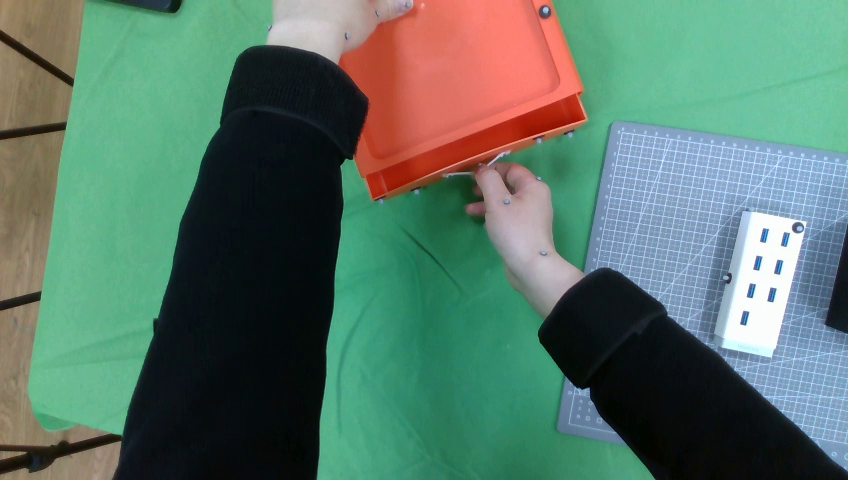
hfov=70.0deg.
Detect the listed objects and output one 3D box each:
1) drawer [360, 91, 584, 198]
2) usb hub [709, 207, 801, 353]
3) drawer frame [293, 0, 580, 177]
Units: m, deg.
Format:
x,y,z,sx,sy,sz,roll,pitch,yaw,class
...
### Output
x,y,z,sx,sy,sz,roll,pitch,yaw,class
0.011,-0.165,0.535,0.194,0.073,0.211,-20,91,8,drawer
0.297,0.035,0.547,0.049,0.025,0.125,11,96,4,usb hub
0.002,-0.187,0.531,0.201,0.083,0.213,-21,91,7,drawer frame
